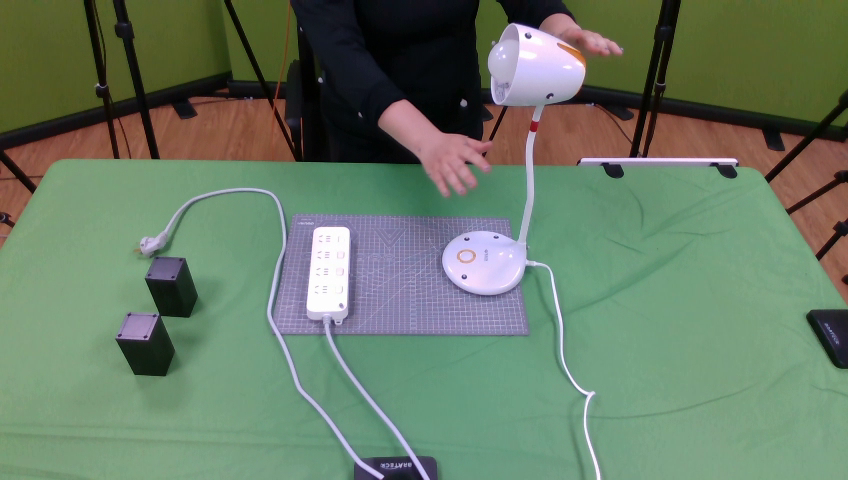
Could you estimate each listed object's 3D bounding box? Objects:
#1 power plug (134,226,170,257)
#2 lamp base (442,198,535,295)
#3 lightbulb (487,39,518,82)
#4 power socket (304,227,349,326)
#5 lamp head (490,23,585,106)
[{"bbox_3d":[-0.515,0.005,1.152,0.052,0.035,0.072,-6,24,6],"label":"power plug"},{"bbox_3d":[0.130,-0.012,1.105,0.179,0.181,0.159,-1,46,-9],"label":"lamp base"},{"bbox_3d":[0.143,-0.251,0.864,0.108,0.060,0.059,9,45,-6],"label":"lightbulb"},{"bbox_3d":[-0.177,0.059,1.115,0.072,0.033,0.225,-1,46,-4],"label":"power socket"},{"bbox_3d":[0.165,-0.241,0.872,0.123,0.113,0.111,9,43,-17],"label":"lamp head"}]
